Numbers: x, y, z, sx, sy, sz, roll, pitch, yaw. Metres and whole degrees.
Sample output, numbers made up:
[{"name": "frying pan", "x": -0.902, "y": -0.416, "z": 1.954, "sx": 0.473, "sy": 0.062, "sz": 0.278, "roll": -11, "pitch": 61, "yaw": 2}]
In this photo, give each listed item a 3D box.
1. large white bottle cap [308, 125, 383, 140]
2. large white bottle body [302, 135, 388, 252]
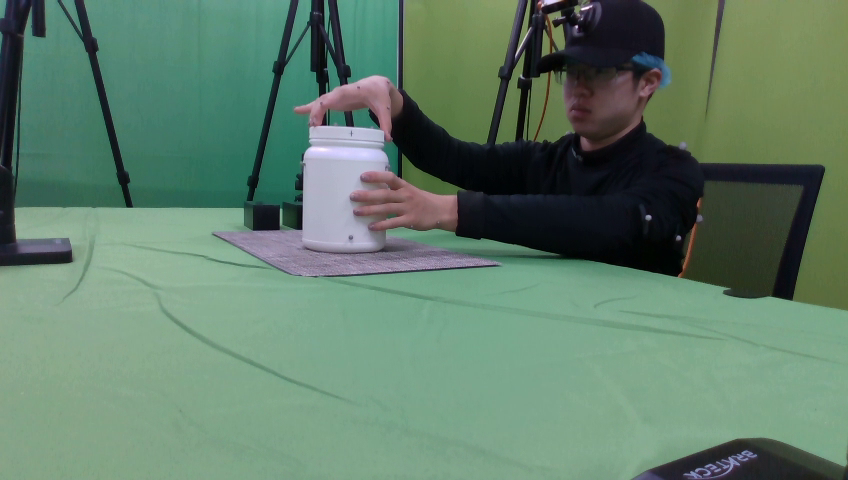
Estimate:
[{"name": "large white bottle cap", "x": -0.119, "y": -0.163, "z": 0.926, "sx": 0.115, "sy": 0.018, "sz": 0.115, "roll": 1, "pitch": 6, "yaw": 0}, {"name": "large white bottle body", "x": -0.122, "y": -0.080, "z": 0.937, "sx": 0.131, "sy": 0.184, "sz": 0.130, "roll": 2, "pitch": 7, "yaw": 0}]
